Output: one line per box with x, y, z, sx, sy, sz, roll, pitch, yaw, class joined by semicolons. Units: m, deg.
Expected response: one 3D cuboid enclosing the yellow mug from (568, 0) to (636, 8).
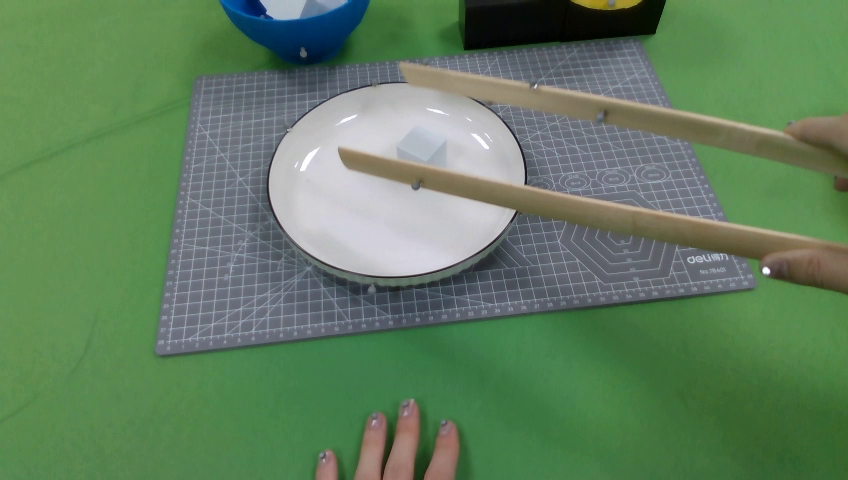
0.157;-0.274;0.572;0.131;0.064;0.099;-20;58;-11;yellow mug

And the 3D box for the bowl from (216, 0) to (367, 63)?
-0.124;-0.231;0.601;0.151;0.077;0.150;-1;56;1;bowl

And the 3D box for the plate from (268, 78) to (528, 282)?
-0.020;-0.051;0.499;0.208;0.039;0.205;0;56;1;plate

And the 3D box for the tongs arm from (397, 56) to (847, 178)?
0.133;-0.067;0.387;0.382;0.027;0.050;18;63;27;tongs arm

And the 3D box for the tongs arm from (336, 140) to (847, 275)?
0.108;-0.025;0.368;0.385;0.028;0.028;14;58;25;tongs arm
